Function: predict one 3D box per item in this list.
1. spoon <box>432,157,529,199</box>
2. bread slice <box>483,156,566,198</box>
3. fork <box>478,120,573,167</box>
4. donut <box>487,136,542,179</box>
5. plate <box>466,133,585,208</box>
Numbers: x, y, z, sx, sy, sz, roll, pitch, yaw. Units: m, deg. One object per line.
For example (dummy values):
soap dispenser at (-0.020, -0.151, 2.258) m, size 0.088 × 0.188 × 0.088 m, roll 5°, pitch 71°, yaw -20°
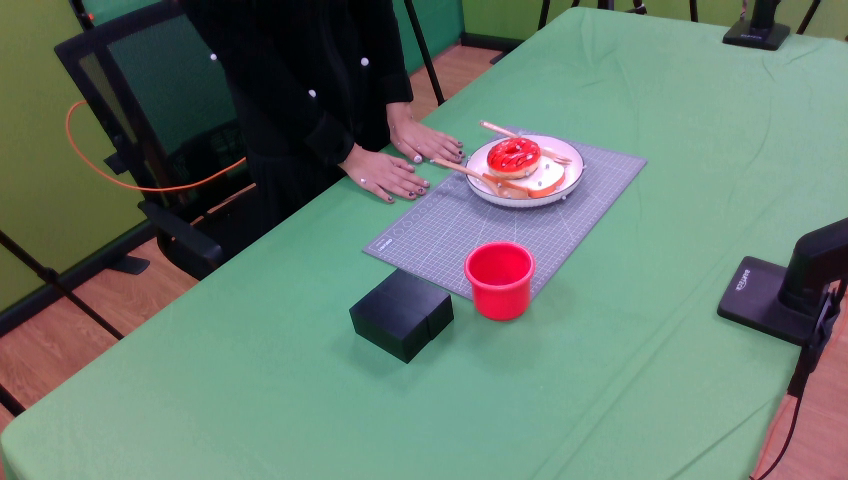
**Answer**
spoon at (0.095, -0.108, 1.055) m, size 0.192 × 0.022 × 0.042 m, roll 30°, pitch 49°, yaw 21°
bread slice at (0.187, -0.120, 1.077) m, size 0.130 × 0.019 × 0.105 m, roll 27°, pitch 53°, yaw 37°
fork at (0.185, -0.183, 1.130) m, size 0.206 × 0.019 × 0.028 m, roll 33°, pitch 69°, yaw 24°
donut at (0.159, -0.147, 1.068) m, size 0.099 × 0.048 × 0.098 m, roll -9°, pitch 39°, yaw 8°
plate at (0.178, -0.120, 1.075) m, size 0.209 × 0.038 × 0.208 m, roll -5°, pitch 40°, yaw 5°
